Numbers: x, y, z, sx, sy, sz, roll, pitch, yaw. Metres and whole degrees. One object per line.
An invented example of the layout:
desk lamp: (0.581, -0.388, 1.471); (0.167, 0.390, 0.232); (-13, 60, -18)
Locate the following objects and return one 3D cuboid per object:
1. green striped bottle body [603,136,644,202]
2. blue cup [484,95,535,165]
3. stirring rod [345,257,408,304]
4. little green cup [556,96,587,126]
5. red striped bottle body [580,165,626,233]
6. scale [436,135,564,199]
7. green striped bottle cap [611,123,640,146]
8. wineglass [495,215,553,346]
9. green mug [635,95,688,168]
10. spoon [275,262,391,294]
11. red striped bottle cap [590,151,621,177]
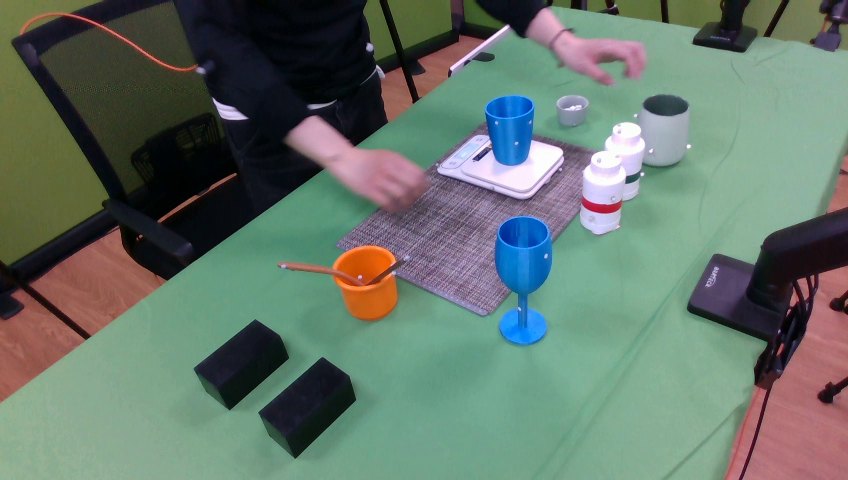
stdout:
green striped bottle body: (0.326, -0.127, 0.997); (0.063, 0.120, 0.063); (-4, 41, 4)
blue cup: (0.150, -0.187, 1.052); (0.092, 0.100, 0.092); (-5, 39, 5)
stirring rod: (-0.067, 0.057, 0.815); (0.014, 0.175, 0.006); (-25, 82, -38)
little green cup: (0.295, -0.258, 1.214); (0.061, 0.039, 0.061); (-4, 42, 4)
red striped bottle body: (0.278, -0.075, 0.942); (0.063, 0.120, 0.062); (-4, 41, 4)
scale: (0.137, -0.142, 1.102); (0.199, 0.032, 0.149); (22, 48, 30)
green striped bottle cap: (0.322, -0.168, 0.963); (0.044, 0.020, 0.044); (-3, 41, 4)
wineglass: (0.127, 0.054, 0.770); (0.074, 0.173, 0.073); (-4, 40, 4)
green mug: (0.421, -0.201, 1.081); (0.092, 0.105, 0.125); (5, 42, 15)
spoon: (-0.120, 0.050, 0.830); (0.041, 0.195, 0.021); (30, 96, 45)
red striped bottle cap: (0.272, -0.115, 0.908); (0.044, 0.018, 0.044); (-3, 44, 4)
